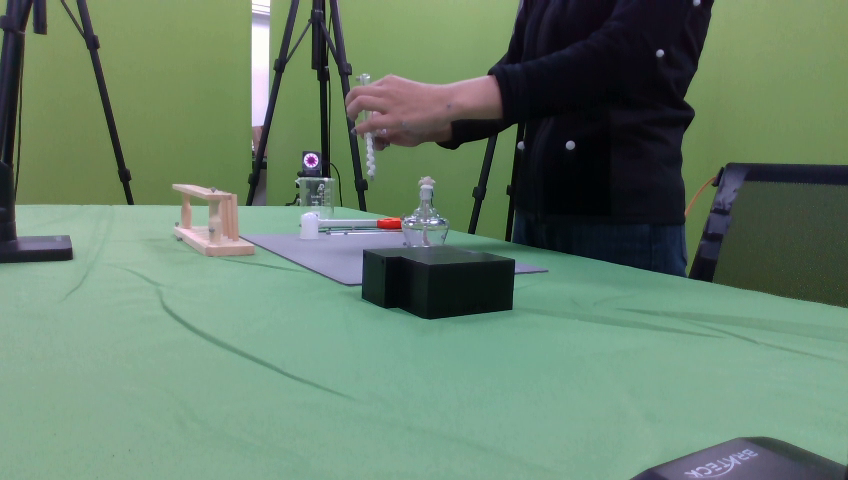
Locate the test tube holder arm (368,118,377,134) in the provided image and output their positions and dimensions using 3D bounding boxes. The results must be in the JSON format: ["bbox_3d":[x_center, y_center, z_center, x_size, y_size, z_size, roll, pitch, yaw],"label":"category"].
[{"bbox_3d":[-0.077,-0.172,0.913,0.010,0.015,0.088,-1,3,-2],"label":"test tube holder arm"}]

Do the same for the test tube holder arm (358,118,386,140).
[{"bbox_3d":[-0.080,-0.174,0.958,0.013,0.015,0.178,0,3,6],"label":"test tube holder arm"}]

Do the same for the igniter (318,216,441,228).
[{"bbox_3d":[-0.090,-0.035,1.222,0.278,0.025,0.057,-2,-2,-31],"label":"igniter"}]

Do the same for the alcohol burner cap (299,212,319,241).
[{"bbox_3d":[-0.195,-0.024,1.025,0.034,0.048,0.034,3,7,0],"label":"alcohol burner cap"}]

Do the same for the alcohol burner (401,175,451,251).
[{"bbox_3d":[0.003,-0.042,0.947,0.078,0.119,0.078,1,9,0],"label":"alcohol burner"}]

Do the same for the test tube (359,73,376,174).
[{"bbox_3d":[-0.083,-0.171,0.889,0.017,0.150,0.017,-4,-2,0],"label":"test tube"}]

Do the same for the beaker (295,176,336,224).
[{"bbox_3d":[-0.224,-0.080,1.247,0.084,0.100,0.073,-1,8,-18],"label":"beaker"}]

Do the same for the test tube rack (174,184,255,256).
[{"bbox_3d":[-0.327,-0.036,0.928,0.067,0.085,0.241,-2,9,-32],"label":"test tube rack"}]

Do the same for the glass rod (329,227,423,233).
[{"bbox_3d":[-0.087,-0.019,1.148,0.201,0.008,0.008,-2,8,-32],"label":"glass rod"}]
